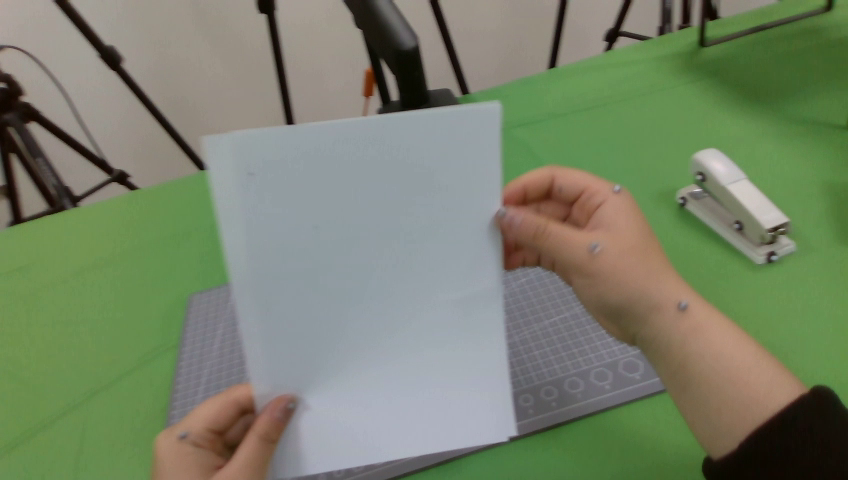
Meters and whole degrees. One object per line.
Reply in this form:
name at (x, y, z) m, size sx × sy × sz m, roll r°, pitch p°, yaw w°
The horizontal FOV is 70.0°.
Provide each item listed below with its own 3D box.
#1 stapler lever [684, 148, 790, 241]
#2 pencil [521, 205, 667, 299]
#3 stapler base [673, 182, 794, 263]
stapler lever at (0.288, -0.047, 0.564) m, size 0.027 × 0.040 × 0.116 m, roll -22°, pitch 39°, yaw -6°
pencil at (0.157, 0.008, 0.585) m, size 0.012 × 0.012 × 0.192 m, roll -29°, pitch 40°, yaw -18°
stapler base at (0.292, -0.028, 0.581) m, size 0.041 × 0.025 × 0.129 m, roll -22°, pitch 39°, yaw -6°
